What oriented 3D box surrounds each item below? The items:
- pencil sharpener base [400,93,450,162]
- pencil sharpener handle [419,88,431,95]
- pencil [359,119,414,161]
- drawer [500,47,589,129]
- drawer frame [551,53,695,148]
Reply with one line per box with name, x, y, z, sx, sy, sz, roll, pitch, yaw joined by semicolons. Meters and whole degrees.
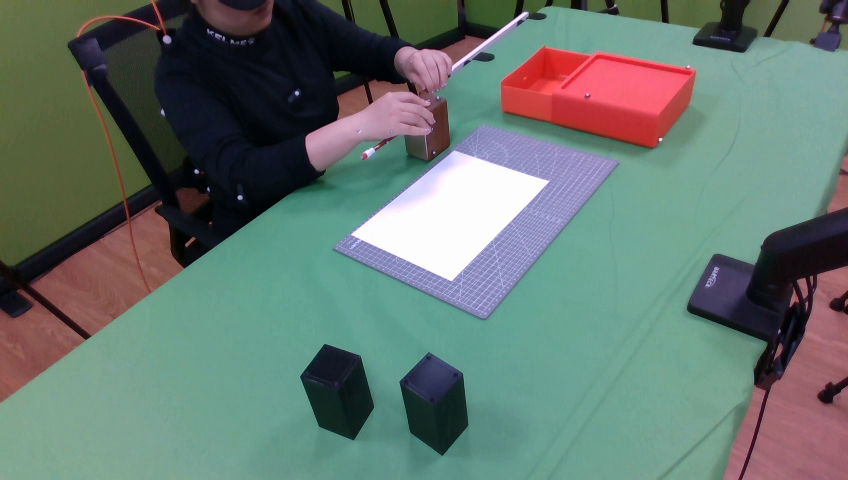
pencil sharpener base;0.005;-0.216;1.159;0.061;0.107;0.077;24;49;32
pencil sharpener handle;0.022;-0.274;1.175;0.067;0.036;0.031;34;53;20
pencil;-0.049;-0.195;1.093;0.012;0.012;0.194;24;50;32
drawer;0.295;-0.316;1.256;0.210;0.073;0.195;22;47;29
drawer frame;0.391;-0.281;1.196;0.212;0.083;0.202;22;48;29
